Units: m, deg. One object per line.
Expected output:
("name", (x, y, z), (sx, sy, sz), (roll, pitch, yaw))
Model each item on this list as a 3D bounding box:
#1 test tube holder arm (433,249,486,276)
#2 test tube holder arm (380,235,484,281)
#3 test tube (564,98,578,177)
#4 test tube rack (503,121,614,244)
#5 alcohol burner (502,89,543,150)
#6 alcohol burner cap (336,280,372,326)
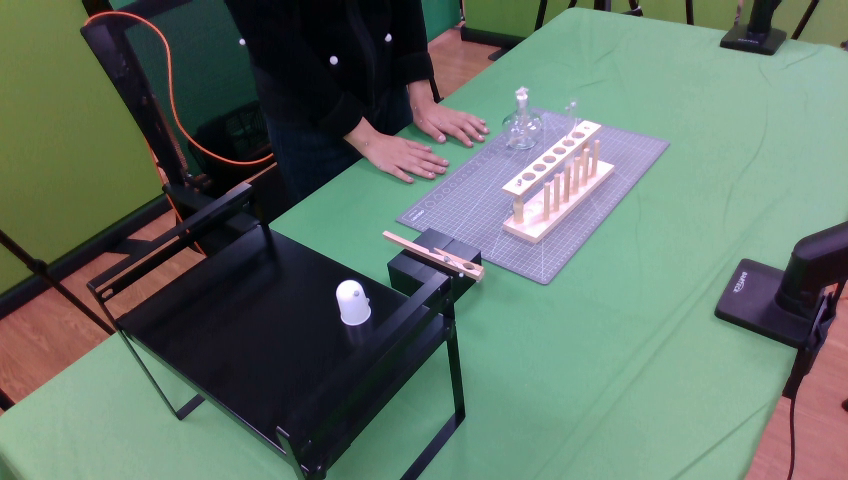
("test tube holder arm", (0.048, 0.033, 0.858), (0.087, 0.015, 0.010), (19, 51, 30))
("test tube holder arm", (0.008, 0.024, 0.877), (0.177, 0.015, 0.013), (18, 51, 29))
("test tube", (0.244, -0.166, 1.004), (0.017, 0.151, 0.017), (-5, 42, 5))
("test tube rack", (0.230, -0.101, 1.006), (0.066, 0.085, 0.243), (26, 50, 35))
("alcohol burner", (0.186, -0.233, 1.147), (0.078, 0.119, 0.077), (-5, 42, 5))
("alcohol burner cap", (-0.073, 0.061, 0.619), (0.034, 0.048, 0.033), (-4, 42, 4))
